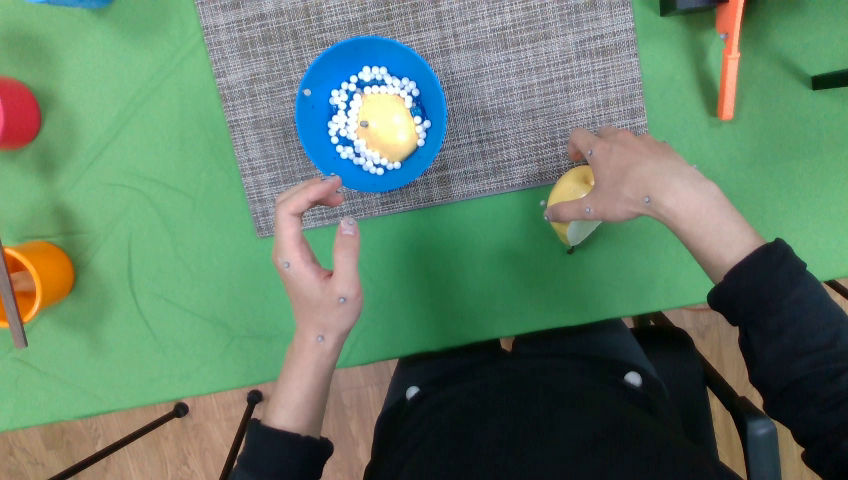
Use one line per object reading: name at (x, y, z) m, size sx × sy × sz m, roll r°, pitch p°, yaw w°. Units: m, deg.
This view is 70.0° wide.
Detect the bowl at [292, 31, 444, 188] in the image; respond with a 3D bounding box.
bowl at (-0.053, -0.133, 0.627) m, size 0.151 × 0.076 × 0.152 m, roll 0°, pitch 102°, yaw 2°

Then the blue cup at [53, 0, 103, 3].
blue cup at (-0.358, -0.276, 0.599) m, size 0.092 × 0.100 × 0.093 m, roll 1°, pitch 102°, yaw 4°

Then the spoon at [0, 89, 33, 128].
spoon at (-0.511, -0.129, 0.615) m, size 0.194 × 0.021 × 0.042 m, roll -15°, pitch 107°, yaw -39°

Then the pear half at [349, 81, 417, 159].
pear half at (-0.047, -0.126, 0.622) m, size 0.070 × 0.031 × 0.088 m, roll -37°, pitch 94°, yaw 7°

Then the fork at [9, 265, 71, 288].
fork at (-0.498, 0.045, 0.648) m, size 0.208 × 0.018 × 0.028 m, roll -2°, pitch 115°, yaw -42°

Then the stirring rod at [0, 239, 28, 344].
stirring rod at (-0.448, 0.028, 0.641) m, size 0.014 × 0.006 × 0.177 m, roll -7°, pitch 102°, yaw 0°

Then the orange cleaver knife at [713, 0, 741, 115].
orange cleaver knife at (0.299, -0.227, 0.597) m, size 0.012 × 0.076 × 0.213 m, roll -8°, pitch 130°, yaw 9°

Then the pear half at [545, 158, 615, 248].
pear half at (0.161, -0.038, 0.659) m, size 0.076 × 0.055 × 0.111 m, roll -18°, pitch 137°, yaw -26°
